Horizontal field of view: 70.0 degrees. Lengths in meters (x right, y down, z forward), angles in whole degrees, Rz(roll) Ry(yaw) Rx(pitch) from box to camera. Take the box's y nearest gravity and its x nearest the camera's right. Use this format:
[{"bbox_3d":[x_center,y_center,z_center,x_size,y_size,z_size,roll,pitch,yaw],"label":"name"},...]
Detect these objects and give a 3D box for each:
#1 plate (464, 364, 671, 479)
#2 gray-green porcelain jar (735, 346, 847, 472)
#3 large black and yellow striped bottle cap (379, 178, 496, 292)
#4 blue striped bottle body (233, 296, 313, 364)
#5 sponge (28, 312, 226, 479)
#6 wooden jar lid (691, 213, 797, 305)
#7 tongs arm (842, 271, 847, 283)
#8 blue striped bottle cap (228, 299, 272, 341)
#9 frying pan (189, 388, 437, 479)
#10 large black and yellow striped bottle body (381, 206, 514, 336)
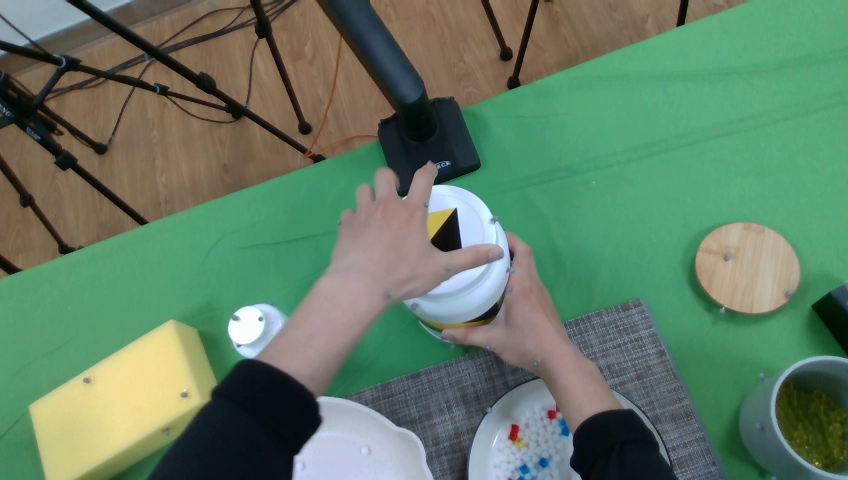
[{"bbox_3d":[0.146,0.236,0.635,0.209,0.038,0.207,-4,69,11],"label":"plate"},{"bbox_3d":[0.362,0.164,0.573,0.105,0.127,0.105,-4,69,11],"label":"gray-green porcelain jar"},{"bbox_3d":[0.012,-0.006,0.585,0.115,0.019,0.114,-4,67,10],"label":"large black and yellow striped bottle cap"},{"bbox_3d":[-0.181,0.105,0.711,0.063,0.122,0.062,-4,69,10],"label":"blue striped bottle body"},{"bbox_3d":[-0.365,0.196,0.748,0.207,0.061,0.117,-32,67,-2],"label":"sponge"},{"bbox_3d":[0.359,0.022,0.685,0.108,0.021,0.107,-4,71,11],"label":"wooden jar lid"},{"bbox_3d":[0.510,0.192,0.550,0.051,0.026,0.382,-24,77,0],"label":"tongs arm"},{"bbox_3d":[-0.191,0.087,0.664,0.044,0.021,0.044,-5,66,13],"label":"blue striped bottle cap"},{"bbox_3d":[-0.054,0.372,0.590,0.307,0.104,0.483,-41,59,-4],"label":"frying pan"},{"bbox_3d":[0.029,0.024,0.664,0.130,0.185,0.130,-4,68,10],"label":"large black and yellow striped bottle body"}]
